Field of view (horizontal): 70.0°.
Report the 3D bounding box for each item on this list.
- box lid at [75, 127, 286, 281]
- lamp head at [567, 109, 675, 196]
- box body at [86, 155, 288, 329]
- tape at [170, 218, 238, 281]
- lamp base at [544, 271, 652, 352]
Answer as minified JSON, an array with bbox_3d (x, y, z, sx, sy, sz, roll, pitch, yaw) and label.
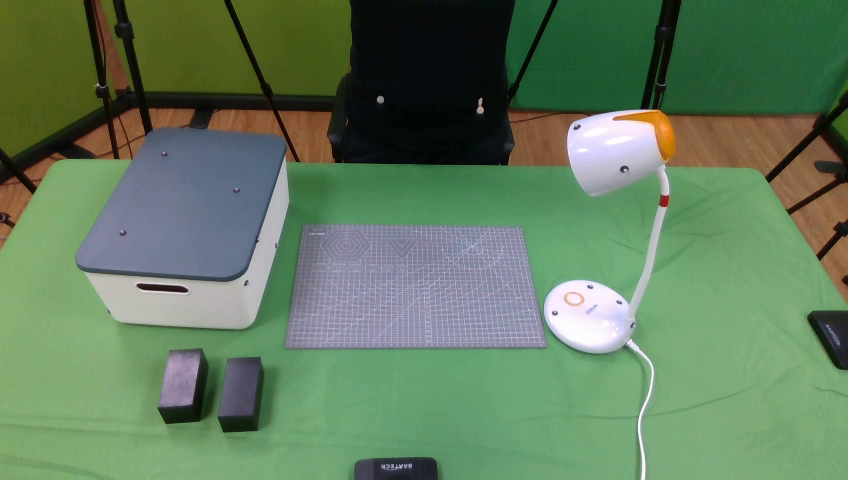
[{"bbox_3d":[-0.398,-0.075,1.039,0.263,0.015,0.369,4,45,-1],"label":"box lid"},{"bbox_3d":[0.272,-0.123,0.818,0.122,0.113,0.112,-9,35,37],"label":"lamp head"},{"bbox_3d":[-0.401,-0.025,1.094,0.254,0.161,0.362,3,46,-1],"label":"box body"},{"bbox_3d":[-0.406,0.017,1.121,0.117,0.053,0.116,2,46,-2],"label":"tape"},{"bbox_3d":[0.309,0.086,1.029,0.178,0.181,0.160,32,52,21],"label":"lamp base"}]
